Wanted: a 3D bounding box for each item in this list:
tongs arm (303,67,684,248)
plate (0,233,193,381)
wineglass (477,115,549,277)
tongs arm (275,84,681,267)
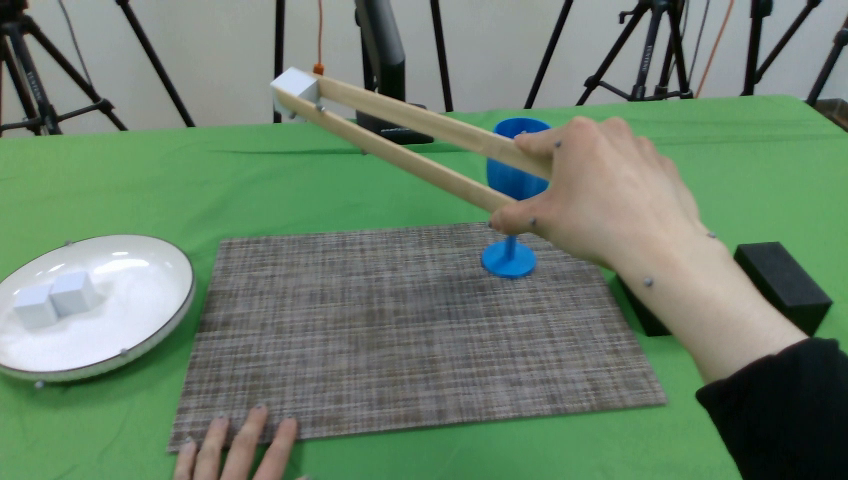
[{"bbox_3d":[0.027,-0.084,0.494,0.384,0.028,0.028,27,53,32],"label":"tongs arm"},{"bbox_3d":[-0.348,0.068,0.635,0.209,0.038,0.207,0,38,0],"label":"plate"},{"bbox_3d":[0.095,-0.046,0.669,0.074,0.174,0.073,0,38,0],"label":"wineglass"},{"bbox_3d":[0.012,-0.069,0.483,0.381,0.027,0.050,32,58,34],"label":"tongs arm"}]
